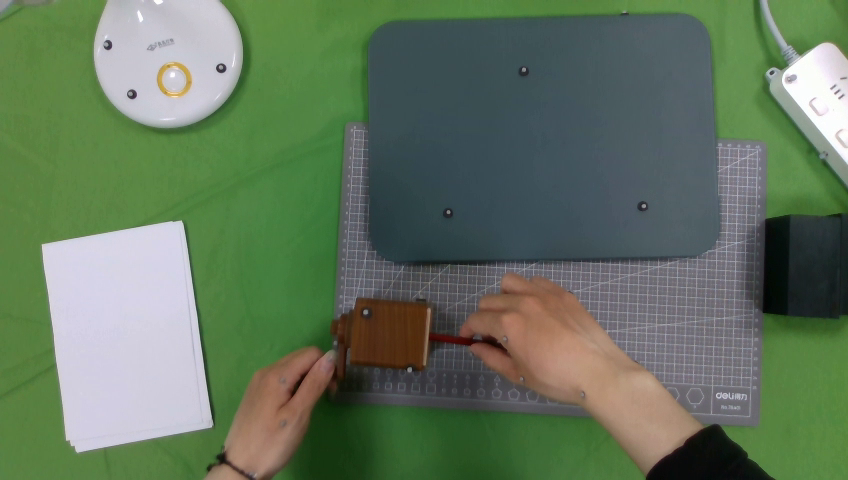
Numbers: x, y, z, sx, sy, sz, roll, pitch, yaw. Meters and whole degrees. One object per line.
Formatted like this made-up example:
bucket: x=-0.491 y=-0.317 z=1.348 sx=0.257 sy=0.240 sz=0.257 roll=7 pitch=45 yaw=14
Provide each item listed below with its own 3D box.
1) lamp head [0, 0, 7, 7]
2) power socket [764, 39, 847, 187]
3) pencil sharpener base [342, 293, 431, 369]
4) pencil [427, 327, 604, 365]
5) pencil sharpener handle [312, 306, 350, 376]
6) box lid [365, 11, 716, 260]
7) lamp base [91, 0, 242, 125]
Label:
lamp head: x=-0.253 y=-0.192 z=0.299 sx=0.112 sy=0.124 sz=0.111 roll=-21 pitch=51 yaw=29
power socket: x=0.451 y=-0.108 z=0.629 sx=0.072 sy=0.032 sz=0.226 roll=-37 pitch=87 yaw=-1
pencil sharpener base: x=-0.034 y=0.085 z=0.590 sx=0.076 sy=0.107 sz=0.061 roll=5 pitch=87 yaw=2
pencil: x=0.074 y=0.097 z=0.568 sx=0.194 sy=0.012 sz=0.012 roll=10 pitch=87 yaw=-3
pencil sharpener handle: x=-0.087 y=0.094 z=0.566 sx=0.030 sy=0.036 sz=0.068 roll=5 pitch=99 yaw=2
box lid: x=0.123 y=-0.111 z=0.646 sx=0.371 sy=0.015 sz=0.263 roll=-1 pitch=87 yaw=1
lamp base: x=-0.285 y=-0.219 z=0.576 sx=0.160 sy=0.180 sz=0.178 roll=-28 pitch=84 yaw=0
